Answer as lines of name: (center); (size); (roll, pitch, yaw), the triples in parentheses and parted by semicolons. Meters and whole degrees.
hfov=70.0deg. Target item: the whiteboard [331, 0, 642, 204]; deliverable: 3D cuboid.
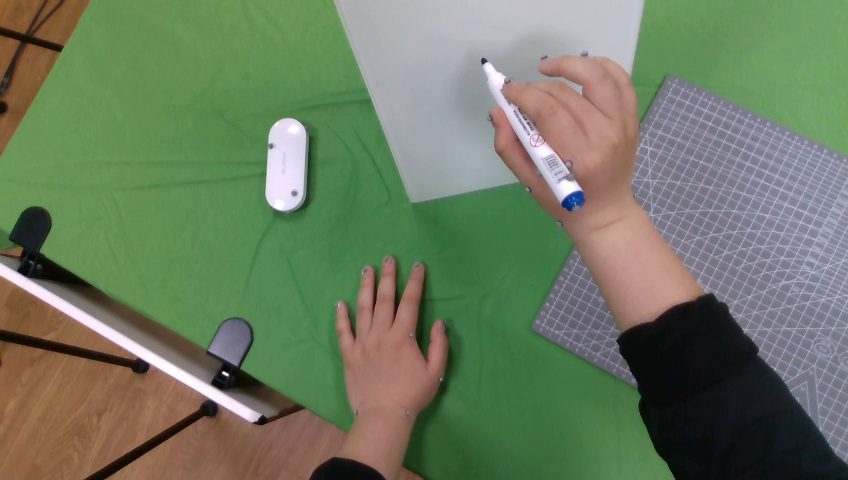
whiteboard: (0.054, -0.189, 0.528); (0.217, 0.308, 0.142); (-11, 62, 6)

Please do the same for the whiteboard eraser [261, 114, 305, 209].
whiteboard eraser: (-0.151, -0.084, 0.648); (0.041, 0.019, 0.101); (1, 84, 5)

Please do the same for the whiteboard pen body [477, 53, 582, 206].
whiteboard pen body: (0.066, -0.080, 0.406); (0.017, 0.017, 0.139); (-27, 62, 3)
